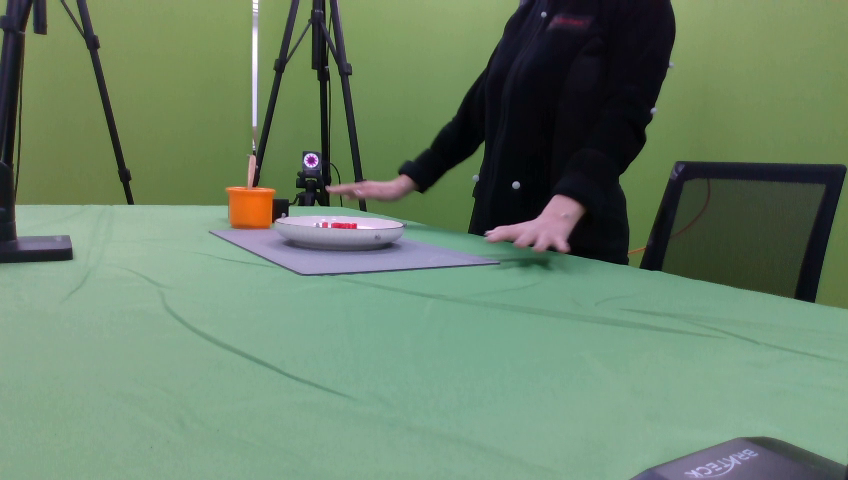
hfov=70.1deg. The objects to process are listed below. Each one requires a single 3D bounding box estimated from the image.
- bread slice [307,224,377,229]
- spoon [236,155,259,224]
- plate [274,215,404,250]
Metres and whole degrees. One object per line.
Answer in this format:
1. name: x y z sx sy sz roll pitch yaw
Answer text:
1. bread slice: -0.133 -0.011 0.974 0.135 0.018 0.106 -3 8 -33
2. spoon: -0.343 -0.102 1.196 0.042 0.193 0.021 -1 -36 -8
3. plate: -0.136 -0.013 0.981 0.209 0.038 0.209 2 7 0
